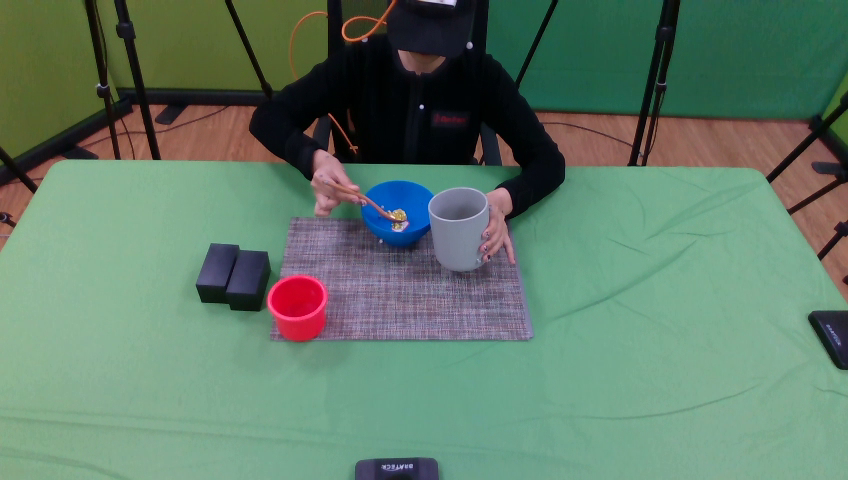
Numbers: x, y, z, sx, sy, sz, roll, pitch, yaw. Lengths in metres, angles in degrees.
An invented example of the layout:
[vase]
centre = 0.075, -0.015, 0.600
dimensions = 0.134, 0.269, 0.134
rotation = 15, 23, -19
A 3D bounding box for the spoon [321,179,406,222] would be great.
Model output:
[spoon]
centre = -0.109, -0.074, 1.123
dimensions = 0.021, 0.195, 0.041
rotation = -57, 37, 4

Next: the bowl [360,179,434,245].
[bowl]
centre = -0.049, -0.043, 1.190
dimensions = 0.151, 0.077, 0.150
rotation = 2, 46, -2

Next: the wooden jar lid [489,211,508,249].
[wooden jar lid]
centre = 0.115, -0.018, 1.220
dimensions = 0.108, 0.021, 0.107
rotation = 3, 47, -3

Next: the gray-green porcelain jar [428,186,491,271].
[gray-green porcelain jar]
centre = 0.066, -0.016, 1.086
dimensions = 0.106, 0.127, 0.105
rotation = -6, 38, 5
